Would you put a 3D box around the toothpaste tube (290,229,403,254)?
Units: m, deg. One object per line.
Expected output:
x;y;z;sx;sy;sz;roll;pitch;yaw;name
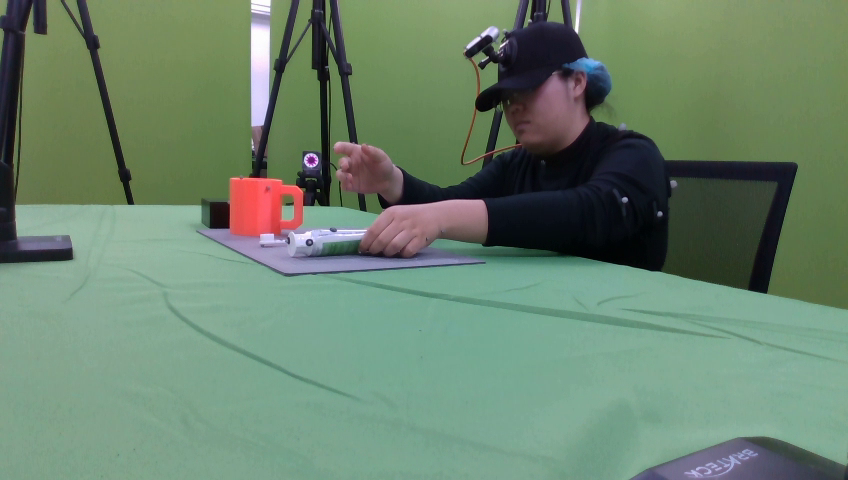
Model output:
-0.111;0.001;0.862;0.166;0.034;0.055;1;-29;-34;toothpaste tube

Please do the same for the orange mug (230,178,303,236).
-0.275;-0.060;1.058;0.126;0.101;0.083;-2;8;-5;orange mug

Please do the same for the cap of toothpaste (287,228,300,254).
-0.177;0.001;0.821;0.011;0.037;0.037;1;7;-30;cap of toothpaste

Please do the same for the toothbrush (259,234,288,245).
-0.175;-0.002;0.958;0.183;0.016;0.014;-1;-5;-39;toothbrush
